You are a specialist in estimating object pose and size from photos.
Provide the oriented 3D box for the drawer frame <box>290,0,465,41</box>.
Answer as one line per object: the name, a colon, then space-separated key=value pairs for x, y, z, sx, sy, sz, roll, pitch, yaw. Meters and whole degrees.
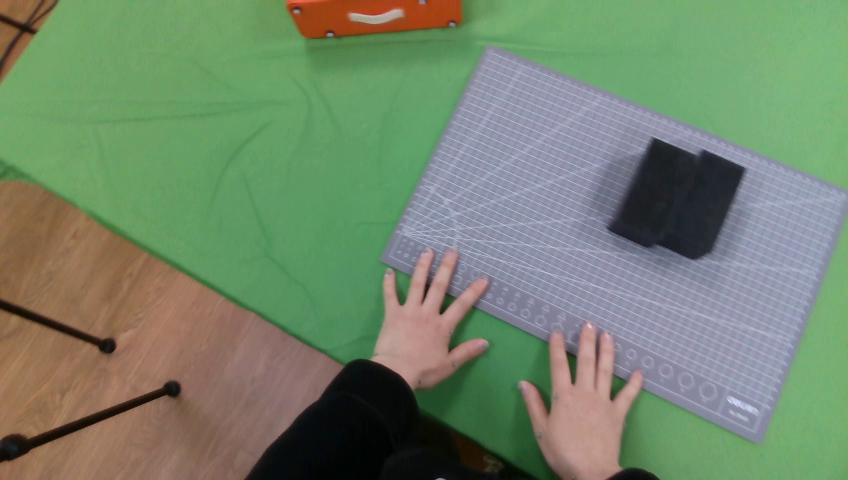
drawer frame: x=-0.056 y=-0.361 z=0.740 sx=0.201 sy=0.083 sz=0.212 roll=-4 pitch=77 yaw=3

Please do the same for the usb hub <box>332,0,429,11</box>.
usb hub: x=-0.053 y=-0.315 z=0.746 sx=0.125 sy=0.025 sz=0.049 roll=11 pitch=79 yaw=12

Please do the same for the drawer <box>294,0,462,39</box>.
drawer: x=-0.056 y=-0.360 z=0.741 sx=0.194 sy=0.073 sz=0.210 roll=-3 pitch=78 yaw=4
